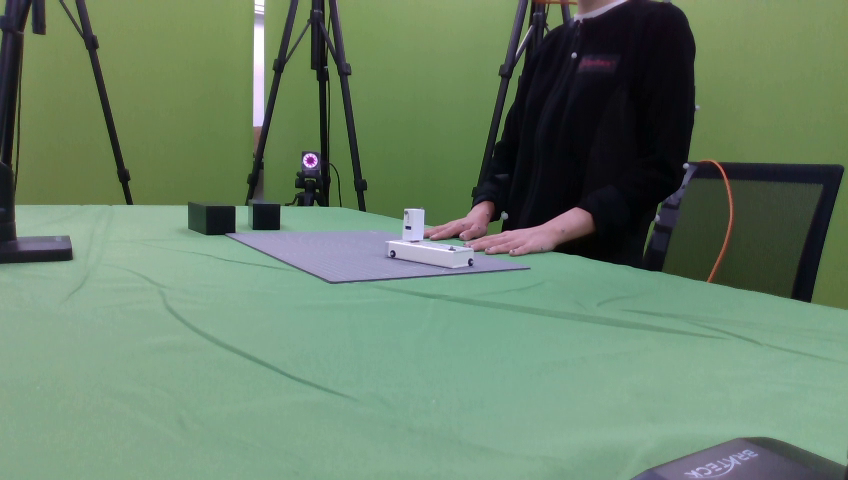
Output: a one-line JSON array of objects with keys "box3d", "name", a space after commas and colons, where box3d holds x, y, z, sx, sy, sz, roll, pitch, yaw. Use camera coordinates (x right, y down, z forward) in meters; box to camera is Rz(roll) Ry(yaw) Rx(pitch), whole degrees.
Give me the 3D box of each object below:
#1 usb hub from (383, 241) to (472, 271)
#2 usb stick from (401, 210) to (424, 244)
[{"box3d": [0.003, 0.020, 0.842, 0.124, 0.025, 0.050, 8, 9, 39], "name": "usb hub"}, {"box3d": [-0.017, -0.012, 0.861, 0.021, 0.059, 0.027, 10, 12, 36], "name": "usb stick"}]
